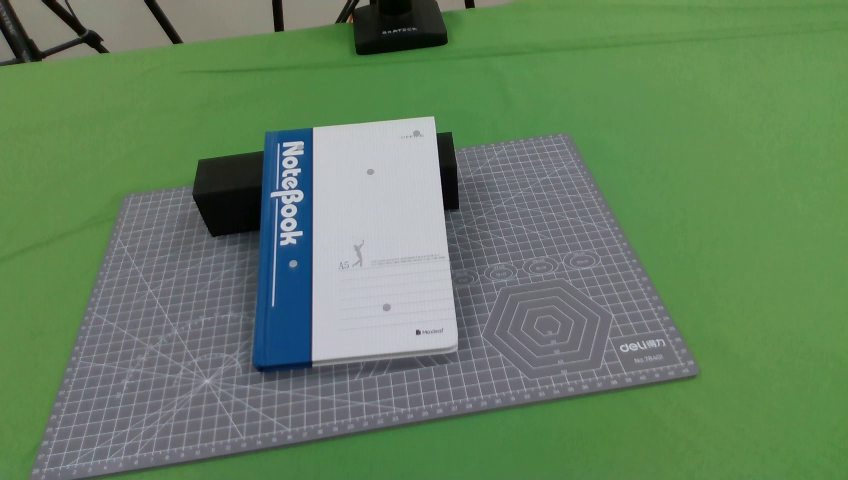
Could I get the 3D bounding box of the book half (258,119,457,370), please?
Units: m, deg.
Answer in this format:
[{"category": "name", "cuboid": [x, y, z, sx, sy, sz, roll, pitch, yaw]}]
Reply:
[{"category": "book half", "cuboid": [-0.055, -0.006, 0.476, 0.143, 0.007, 0.208, -5, 62, 0]}]
